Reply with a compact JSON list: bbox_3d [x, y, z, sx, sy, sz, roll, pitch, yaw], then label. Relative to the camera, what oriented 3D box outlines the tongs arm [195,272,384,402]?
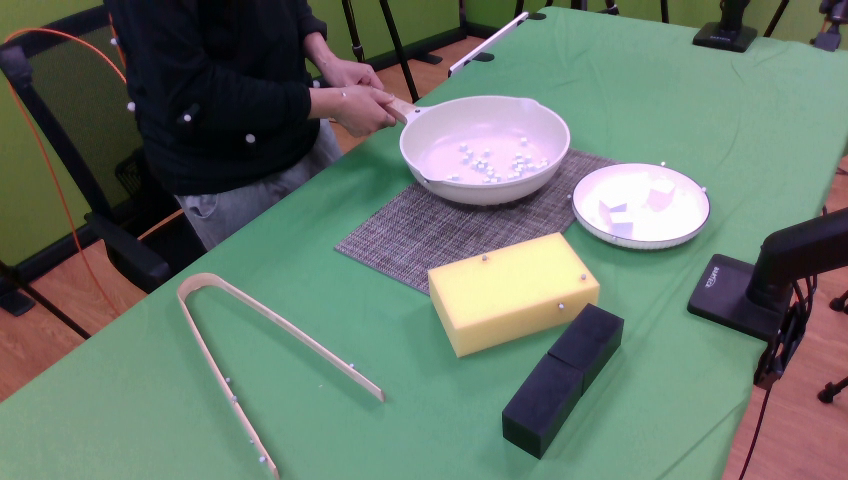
[{"bbox_3d":[-0.199,0.125,0.847,0.384,0.028,0.028,25,52,32],"label":"tongs arm"}]

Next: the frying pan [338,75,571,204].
[{"bbox_3d":[0.025,-0.208,1.098,0.484,0.103,0.308,32,52,25],"label":"frying pan"}]

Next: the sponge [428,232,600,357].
[{"bbox_3d":[0.120,0.071,0.834,0.207,0.061,0.117,-15,43,-12],"label":"sponge"}]

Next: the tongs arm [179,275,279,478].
[{"bbox_3d":[-0.260,0.161,0.807,0.051,0.026,0.381,-29,44,-25],"label":"tongs arm"}]

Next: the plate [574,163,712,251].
[{"bbox_3d":[0.344,-0.050,0.966,0.207,0.039,0.206,-4,40,4],"label":"plate"}]
